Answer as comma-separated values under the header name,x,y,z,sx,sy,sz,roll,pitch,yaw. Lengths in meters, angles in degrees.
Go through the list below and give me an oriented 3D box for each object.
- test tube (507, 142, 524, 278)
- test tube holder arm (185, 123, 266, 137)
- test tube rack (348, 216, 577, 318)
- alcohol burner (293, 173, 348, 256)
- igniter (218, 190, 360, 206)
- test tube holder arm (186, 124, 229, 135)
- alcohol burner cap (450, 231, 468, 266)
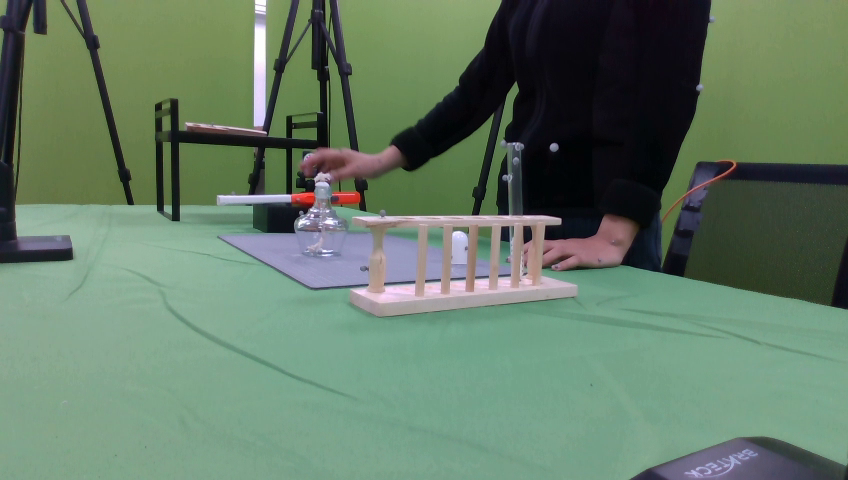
name,x,y,z,sx,sy,sz,roll,pitch,yaw
test tube,0.101,-0.032,0.666,0.017,0.150,0.017,-2,6,1
test tube holder arm,-0.433,-0.242,1.333,0.179,0.015,0.013,-3,48,-42
test tube rack,0.048,0.021,0.619,0.244,0.085,0.066,-2,8,-31
alcohol burner,-0.147,-0.036,0.859,0.078,0.119,0.078,4,8,0
igniter,-0.247,-0.080,1.150,0.278,0.025,0.057,-5,7,-29
test tube holder arm,-0.465,-0.236,1.300,0.088,0.015,0.010,-2,47,-41
alcohol burner cap,0.046,0.012,0.838,0.034,0.048,0.034,3,6,0
